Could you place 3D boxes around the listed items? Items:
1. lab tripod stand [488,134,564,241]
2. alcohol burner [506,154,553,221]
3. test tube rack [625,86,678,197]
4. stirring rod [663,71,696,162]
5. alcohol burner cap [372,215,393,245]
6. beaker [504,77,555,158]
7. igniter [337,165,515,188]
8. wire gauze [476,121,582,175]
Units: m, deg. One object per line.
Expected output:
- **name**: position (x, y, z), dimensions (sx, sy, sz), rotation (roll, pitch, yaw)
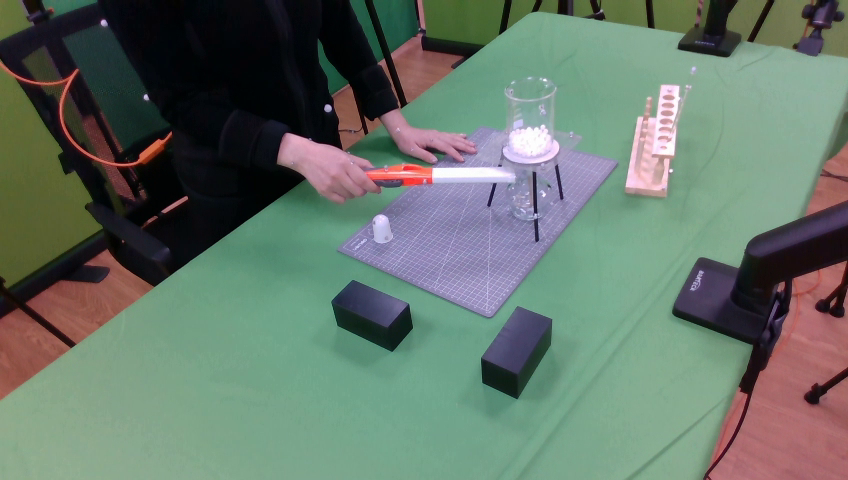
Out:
- **lab tripod stand**: position (0.168, -0.092, 0.972), dimensions (0.148, 0.132, 0.147), rotation (-5, 41, 5)
- **alcohol burner**: position (0.171, -0.091, 0.985), dimensions (0.078, 0.119, 0.077), rotation (-5, 42, 5)
- **test tube rack**: position (0.412, -0.184, 1.088), dimensions (0.066, 0.085, 0.242), rotation (9, 43, 18)
- **stirring rod**: position (0.410, -0.195, 0.981), dimensions (0.014, 0.177, 0.006), rotation (11, 50, 14)
- **alcohol burner cap**: position (-0.070, -0.019, 0.990), dimensions (0.034, 0.048, 0.033), rotation (-4, 42, 4)
- **beaker**: position (0.160, -0.181, 0.900), dimensions (0.084, 0.101, 0.073), rotation (-32, 46, -27)
- **igniter**: position (0.001, -0.099, 0.934), dimensions (0.276, 0.025, 0.057), rotation (0, 36, 3)
- **wire gauze**: position (0.162, -0.142, 0.929), dimensions (0.120, 0.011, 0.125), rotation (19, 49, 32)
